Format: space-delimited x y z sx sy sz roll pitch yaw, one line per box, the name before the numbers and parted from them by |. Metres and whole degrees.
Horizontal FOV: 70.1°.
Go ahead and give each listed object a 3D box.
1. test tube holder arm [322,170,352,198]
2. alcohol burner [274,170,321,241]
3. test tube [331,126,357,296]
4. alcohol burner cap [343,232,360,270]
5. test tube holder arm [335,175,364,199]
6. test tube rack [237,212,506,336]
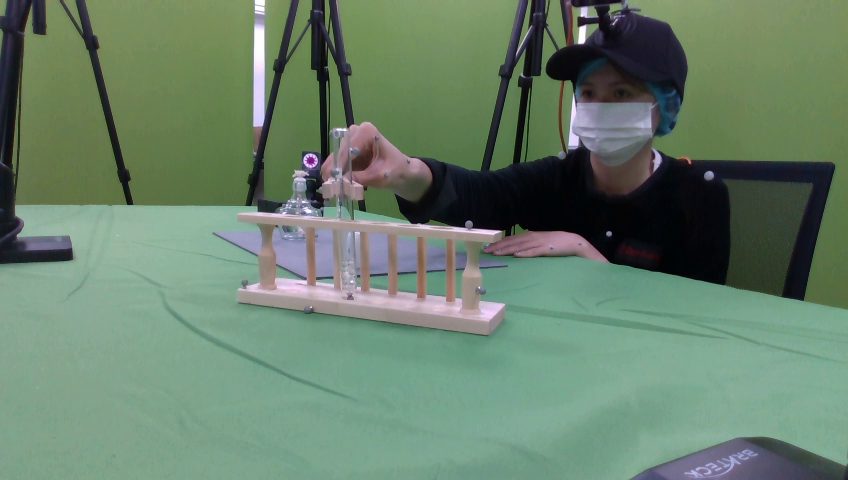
test tube holder arm | -0.087 -0.060 0.621 0.013 0.015 0.178 3 10 -3
alcohol burner | -0.212 -0.058 1.015 0.078 0.119 0.078 4 5 0
test tube | -0.070 -0.025 0.534 0.017 0.150 0.017 -2 8 1
alcohol burner cap | -0.087 0.013 0.777 0.034 0.048 0.034 3 7 0
test tube holder arm | -0.075 -0.052 0.580 0.010 0.015 0.087 -2 12 -23
test tube rack | -0.049 0.024 0.552 0.242 0.085 0.067 5 8 19
